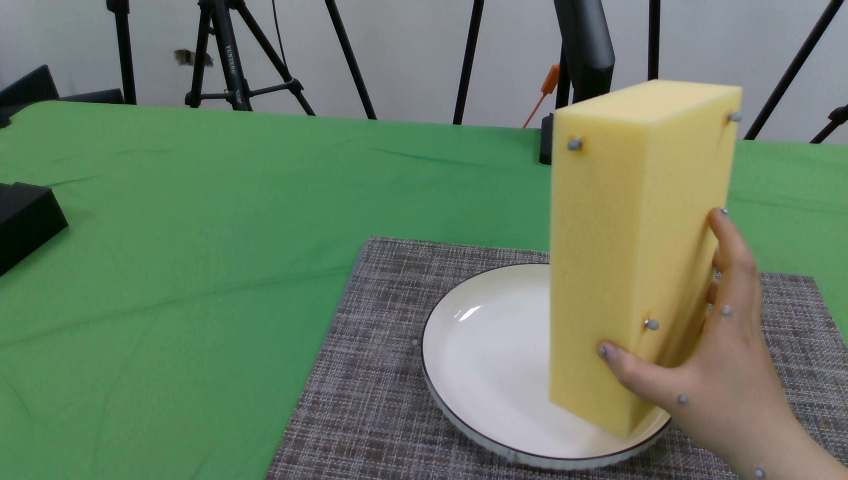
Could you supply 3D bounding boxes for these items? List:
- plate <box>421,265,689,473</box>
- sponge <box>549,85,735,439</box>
[{"bbox_3d":[0.102,0.100,0.493,0.208,0.039,0.205,-1,37,1],"label":"plate"},{"bbox_3d":[0.141,0.011,0.403,0.118,0.208,0.060,-26,32,-38],"label":"sponge"}]
